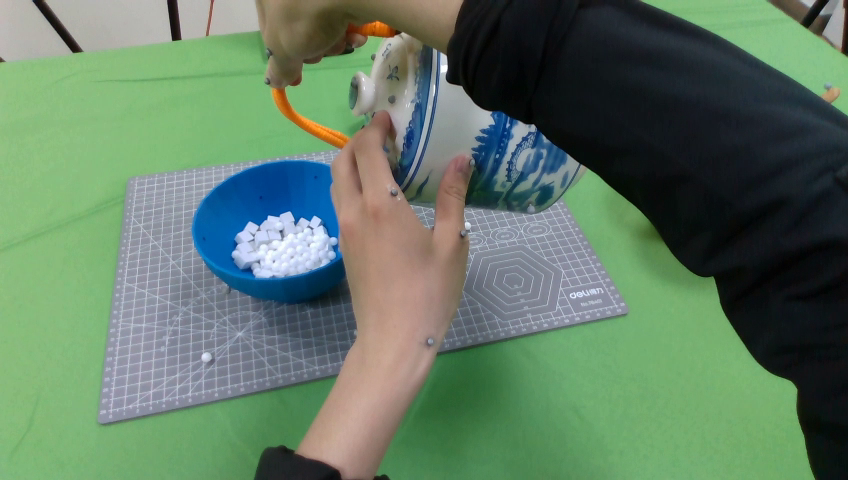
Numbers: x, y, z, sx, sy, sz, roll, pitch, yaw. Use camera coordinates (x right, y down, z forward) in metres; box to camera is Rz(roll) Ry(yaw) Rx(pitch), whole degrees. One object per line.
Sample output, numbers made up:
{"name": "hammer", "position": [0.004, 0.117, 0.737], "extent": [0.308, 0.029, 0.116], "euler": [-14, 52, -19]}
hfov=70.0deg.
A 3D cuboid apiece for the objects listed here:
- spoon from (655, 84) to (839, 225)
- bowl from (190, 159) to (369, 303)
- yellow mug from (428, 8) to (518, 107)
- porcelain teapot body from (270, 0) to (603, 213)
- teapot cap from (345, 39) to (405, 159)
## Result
{"name": "spoon", "position": [0.307, -0.080, 0.583], "extent": [0.022, 0.194, 0.041], "euler": [27, 30, -40]}
{"name": "bowl", "position": [-0.122, 0.004, 0.544], "extent": [0.151, 0.077, 0.150], "euler": [0, 46, 0]}
{"name": "yellow mug", "position": [0.049, -0.201, 0.684], "extent": [0.099, 0.064, 0.130], "euler": [15, 50, 14]}
{"name": "porcelain teapot body", "position": [-0.005, -0.081, 0.465], "extent": [0.226, 0.206, 0.143], "euler": [3, 52, -22]}
{"name": "teapot cap", "position": [-0.033, -0.101, 0.430], "extent": [0.044, 0.085, 0.084], "euler": [0, 45, -20]}
